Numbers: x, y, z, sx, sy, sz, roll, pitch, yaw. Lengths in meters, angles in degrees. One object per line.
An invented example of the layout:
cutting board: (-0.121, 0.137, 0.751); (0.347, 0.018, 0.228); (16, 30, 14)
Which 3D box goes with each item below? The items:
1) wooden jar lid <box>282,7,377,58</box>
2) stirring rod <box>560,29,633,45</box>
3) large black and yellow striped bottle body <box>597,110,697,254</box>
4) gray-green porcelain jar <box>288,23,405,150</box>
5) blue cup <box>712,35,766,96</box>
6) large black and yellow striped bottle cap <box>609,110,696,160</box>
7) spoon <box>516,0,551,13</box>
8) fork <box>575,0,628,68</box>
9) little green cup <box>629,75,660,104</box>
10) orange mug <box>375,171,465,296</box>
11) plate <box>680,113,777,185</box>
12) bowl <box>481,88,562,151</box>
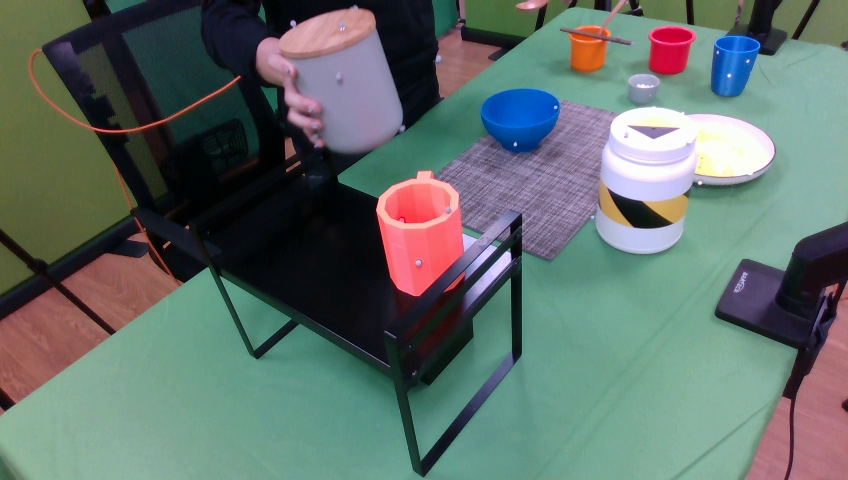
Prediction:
wooden jar lid: (-0.102, -0.224, 0.664); (0.108, 0.021, 0.108); (-12, 39, 10)
stirring rod: (0.381, -0.452, 1.344); (0.174, 0.006, 0.014); (25, 49, 33)
large black and yellow striped bottle body: (0.331, -0.086, 0.903); (0.131, 0.185, 0.130); (-5, 41, 4)
gray-green porcelain jar: (-0.084, -0.177, 0.702); (0.105, 0.127, 0.105); (-12, 38, 10)
blue cup: (0.627, -0.350, 1.227); (0.092, 0.100, 0.092); (-4, 39, 4)
large black and yellow striped bottle cap: (0.319, -0.150, 0.849); (0.115, 0.019, 0.114); (-4, 39, 3)
spoon: (0.248, -0.437, 1.034); (0.193, 0.022, 0.041); (-28, 32, 9)
fork: (0.413, -0.481, 1.377); (0.207, 0.019, 0.028); (-57, 43, 12)
little green cup: (0.457, -0.314, 1.260); (0.061, 0.039, 0.061); (-4, 40, 4)
orange mug: (0.000, -0.016, 0.661); (0.083, 0.101, 0.125); (-2, 45, 8)
plate: (0.506, -0.158, 1.073); (0.209, 0.038, 0.208); (-4, 40, 4)
bowl: (0.187, -0.223, 1.161); (0.151, 0.077, 0.150); (-4, 40, 4)
